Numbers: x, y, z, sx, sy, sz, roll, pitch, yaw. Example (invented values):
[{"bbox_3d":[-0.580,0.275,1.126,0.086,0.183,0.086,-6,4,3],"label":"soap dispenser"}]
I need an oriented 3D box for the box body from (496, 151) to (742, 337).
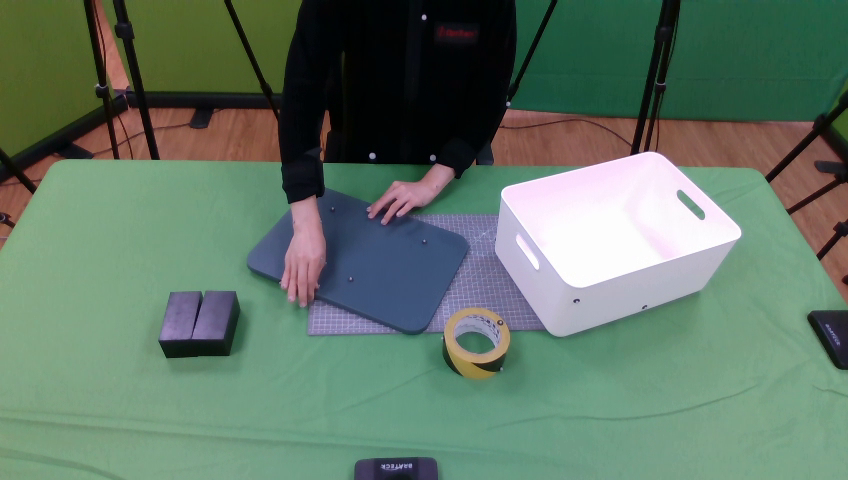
[{"bbox_3d":[0.340,0.003,1.118,0.364,0.161,0.252,-15,49,-18],"label":"box body"}]

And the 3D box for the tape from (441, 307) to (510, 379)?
[{"bbox_3d":[0.087,0.172,1.014,0.117,0.053,0.116,2,48,-2],"label":"tape"}]

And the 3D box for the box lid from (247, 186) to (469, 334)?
[{"bbox_3d":[-0.123,0.024,1.164,0.371,0.015,0.262,20,47,13],"label":"box lid"}]
